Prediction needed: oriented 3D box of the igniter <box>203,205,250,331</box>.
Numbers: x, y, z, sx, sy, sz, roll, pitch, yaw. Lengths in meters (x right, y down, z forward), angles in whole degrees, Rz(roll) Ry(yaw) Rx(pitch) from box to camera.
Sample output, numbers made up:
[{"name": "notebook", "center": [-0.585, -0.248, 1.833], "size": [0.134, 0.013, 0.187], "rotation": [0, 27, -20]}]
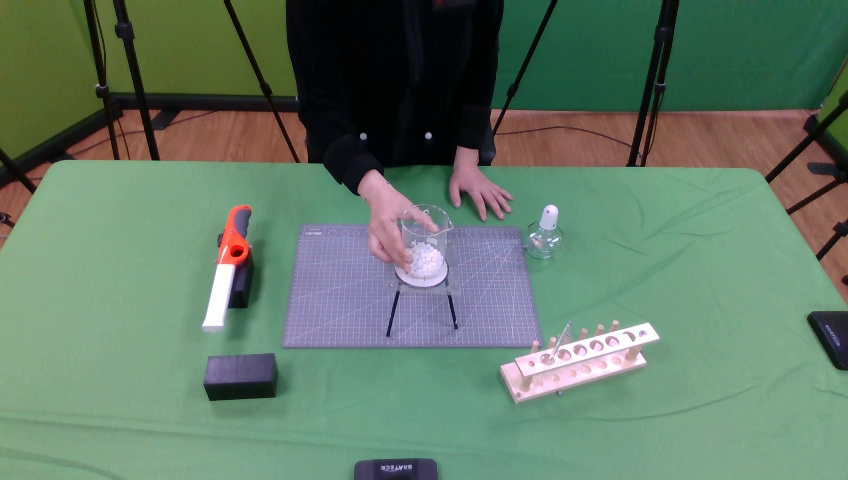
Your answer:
[{"name": "igniter", "center": [-0.345, 0.039, 1.065], "size": [0.057, 0.025, 0.274], "rotation": [2, 49, -6]}]

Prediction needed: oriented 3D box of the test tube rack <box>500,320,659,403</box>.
[{"name": "test tube rack", "center": [0.252, 0.187, 0.994], "size": [0.243, 0.085, 0.066], "rotation": [-12, 48, -15]}]

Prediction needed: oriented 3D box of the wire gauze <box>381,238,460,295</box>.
[{"name": "wire gauze", "center": [-0.007, 0.040, 0.983], "size": [0.125, 0.011, 0.120], "rotation": [1, 44, -5]}]

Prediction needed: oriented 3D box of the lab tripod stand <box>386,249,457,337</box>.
[{"name": "lab tripod stand", "center": [-0.010, 0.087, 1.032], "size": [0.148, 0.132, 0.147], "rotation": [1, 45, -1]}]

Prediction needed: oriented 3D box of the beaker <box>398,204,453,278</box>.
[{"name": "beaker", "center": [0.001, 0.004, 0.950], "size": [0.084, 0.101, 0.073], "rotation": [10, 44, 6]}]

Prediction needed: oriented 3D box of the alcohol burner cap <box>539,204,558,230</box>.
[{"name": "alcohol burner cap", "center": [0.239, -0.045, 1.148], "size": [0.034, 0.048, 0.033], "rotation": [2, 42, -1]}]

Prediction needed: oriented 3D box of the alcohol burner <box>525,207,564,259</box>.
[{"name": "alcohol burner", "center": [0.236, -0.020, 1.174], "size": [0.078, 0.120, 0.077], "rotation": [1, 48, -1]}]

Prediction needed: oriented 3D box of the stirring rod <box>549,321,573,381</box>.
[{"name": "stirring rod", "center": [0.202, 0.167, 0.901], "size": [0.006, 0.177, 0.014], "rotation": [-18, 55, -11]}]
